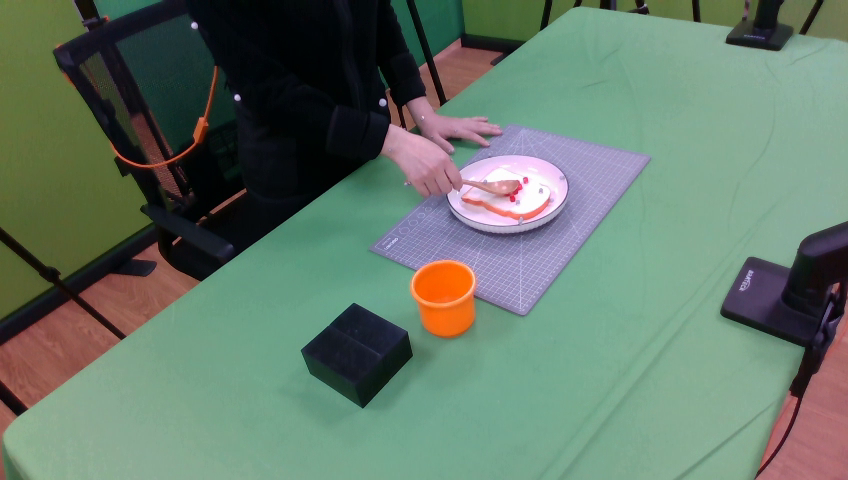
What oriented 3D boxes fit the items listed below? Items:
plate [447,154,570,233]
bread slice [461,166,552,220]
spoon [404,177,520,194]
[{"bbox_3d":[0.143,-0.076,1.032,0.209,0.038,0.208,-5,40,5],"label":"plate"},{"bbox_3d":[0.149,-0.079,1.036,0.133,0.018,0.107,22,50,31],"label":"bread slice"},{"bbox_3d":[0.064,-0.095,1.000,0.194,0.021,0.041,4,32,-9],"label":"spoon"}]
